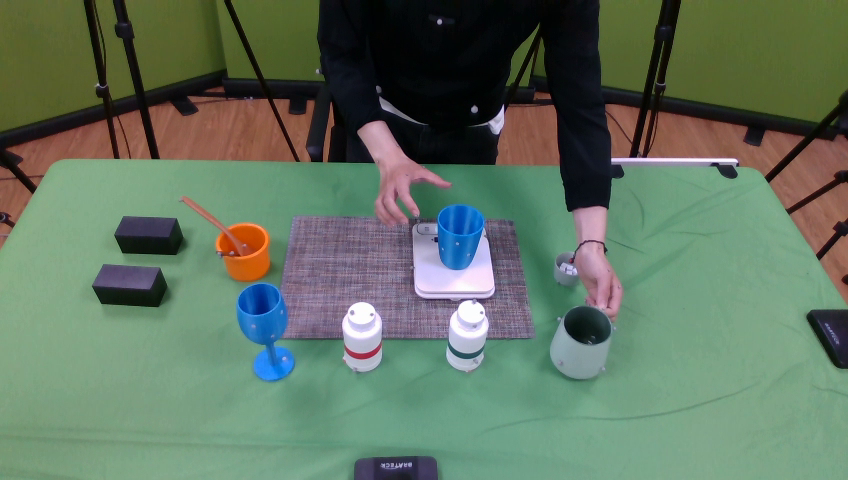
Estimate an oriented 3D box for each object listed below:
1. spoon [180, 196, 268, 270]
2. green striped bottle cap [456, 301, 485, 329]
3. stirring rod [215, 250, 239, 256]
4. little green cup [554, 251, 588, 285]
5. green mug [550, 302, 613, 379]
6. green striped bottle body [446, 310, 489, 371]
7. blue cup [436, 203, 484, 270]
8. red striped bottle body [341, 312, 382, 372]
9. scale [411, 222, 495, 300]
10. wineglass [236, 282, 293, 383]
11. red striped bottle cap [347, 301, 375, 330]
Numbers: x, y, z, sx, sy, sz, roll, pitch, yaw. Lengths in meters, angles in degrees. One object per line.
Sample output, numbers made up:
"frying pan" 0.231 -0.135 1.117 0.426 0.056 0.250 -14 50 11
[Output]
"spoon" -0.360 -0.014 1.094 0.021 0.194 0.041 -28 26 31
"green striped bottle cap" 0.073 0.116 0.943 0.044 0.020 0.044 3 46 -3
"stirring rod" -0.339 0.024 1.059 0.014 0.176 0.006 17 86 -6
"little green cup" 0.276 0.055 1.151 0.061 0.039 0.061 1 46 -1
"green mug" 0.269 0.157 1.003 0.092 0.105 0.125 26 53 23
"green striped bottle body" 0.071 0.155 0.983 0.063 0.120 0.063 2 46 -2
"blue cup" 0.062 -0.001 1.099 0.093 0.101 0.092 2 44 -2
"red striped bottle body" -0.100 0.154 0.972 0.063 0.120 0.062 2 46 -1
"scale" 0.052 0.031 1.158 0.149 0.032 0.199 1 46 -4
"wineglass" -0.243 0.143 0.934 0.074 0.173 0.073 2 46 -2
"red striped bottle cap" -0.097 0.116 0.934 0.044 0.018 0.044 2 50 -2
